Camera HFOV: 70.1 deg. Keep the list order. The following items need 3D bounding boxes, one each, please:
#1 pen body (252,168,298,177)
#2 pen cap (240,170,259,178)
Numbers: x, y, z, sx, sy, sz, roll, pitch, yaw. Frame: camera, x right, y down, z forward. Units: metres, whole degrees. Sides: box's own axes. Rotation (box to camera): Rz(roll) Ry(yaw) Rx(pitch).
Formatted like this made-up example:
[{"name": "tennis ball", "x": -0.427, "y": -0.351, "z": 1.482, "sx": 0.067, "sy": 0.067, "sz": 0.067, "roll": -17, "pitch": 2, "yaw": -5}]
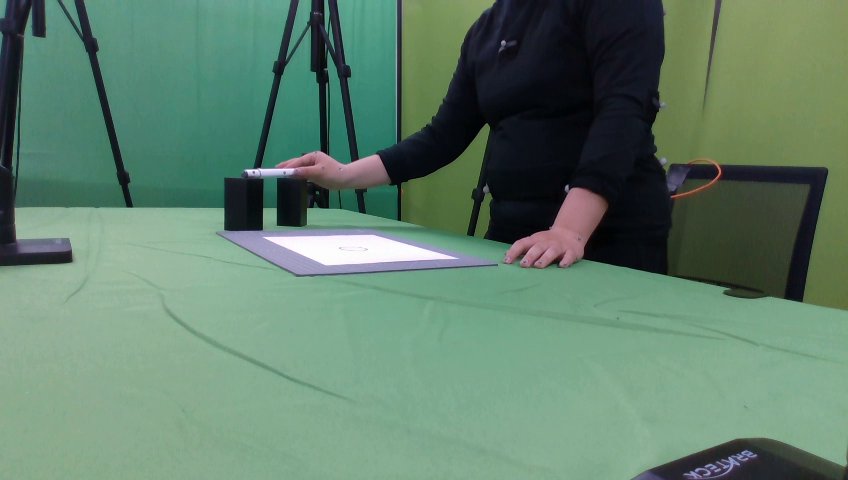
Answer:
[{"name": "pen body", "x": -0.303, "y": -0.135, "z": 1.213, "sx": 0.017, "sy": 0.017, "sz": 0.145, "roll": 6, "pitch": 8, "yaw": 26}, {"name": "pen cap", "x": -0.333, "y": -0.126, "z": 1.158, "sx": 0.017, "sy": 0.017, "sz": 0.038, "roll": 6, "pitch": 9, "yaw": 26}]
